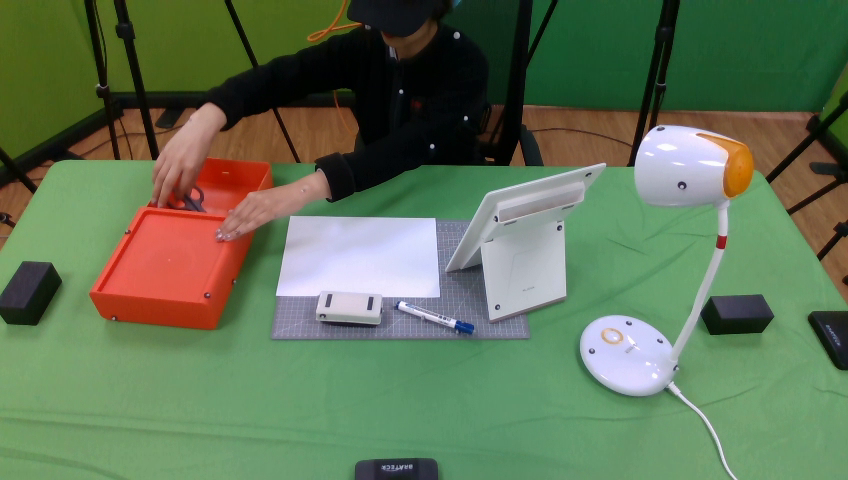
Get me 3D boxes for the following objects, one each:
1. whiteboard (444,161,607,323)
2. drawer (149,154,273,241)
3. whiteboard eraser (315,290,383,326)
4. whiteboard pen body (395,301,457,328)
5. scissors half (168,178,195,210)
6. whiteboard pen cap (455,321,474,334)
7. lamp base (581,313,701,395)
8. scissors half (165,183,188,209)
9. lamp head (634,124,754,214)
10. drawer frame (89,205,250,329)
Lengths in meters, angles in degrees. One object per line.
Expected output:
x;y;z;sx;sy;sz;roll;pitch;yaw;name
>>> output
0.186;0.025;1.029;0.217;0.306;0.143;-14;68;-18;whiteboard
-0.424;-0.074;1.201;0.194;0.073;0.210;6;45;1;drawer
-0.130;0.120;1.054;0.113;0.042;0.055;4;47;0;whiteboard eraser
0.015;0.134;1.064;0.140;0.017;0.017;17;47;16;whiteboard pen body
-0.438;-0.041;1.164;0.013;0.040;0.175;-41;103;-43;scissors half
0.069;0.151;1.046;0.033;0.018;0.018;14;47;16;whiteboard pen cap
0.361;0.144;0.972;0.178;0.181;0.160;34;53;23;lamp base
-0.431;-0.046;1.154;0.175;0.040;0.013;46;53;2;scissors half
0.351;-0.089;0.775;0.112;0.113;0.122;-30;30;-28;lamp head
-0.440;0.043;1.080;0.202;0.083;0.212;5;47;0;drawer frame
